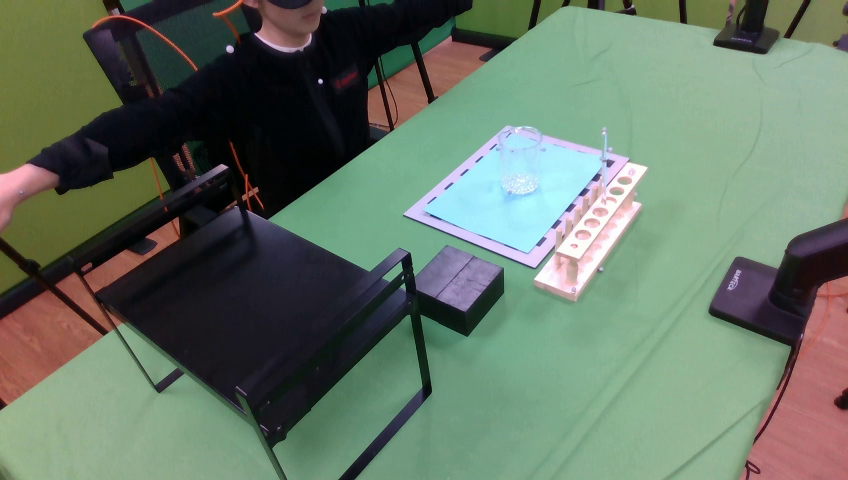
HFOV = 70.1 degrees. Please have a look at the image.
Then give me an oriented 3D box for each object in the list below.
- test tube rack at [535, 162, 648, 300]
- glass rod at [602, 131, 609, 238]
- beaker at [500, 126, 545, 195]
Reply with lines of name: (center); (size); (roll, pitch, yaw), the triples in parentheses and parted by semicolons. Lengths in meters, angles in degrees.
test tube rack: (0.257, -0.024, 0.916); (0.066, 0.085, 0.243); (22, 49, 30)
glass rod: (0.262, -0.074, 0.871); (0.008, 0.201, 0.008); (-9, 43, 9)
beaker: (0.169, -0.137, 1.045); (0.074, 0.101, 0.083); (-8, 40, 0)
